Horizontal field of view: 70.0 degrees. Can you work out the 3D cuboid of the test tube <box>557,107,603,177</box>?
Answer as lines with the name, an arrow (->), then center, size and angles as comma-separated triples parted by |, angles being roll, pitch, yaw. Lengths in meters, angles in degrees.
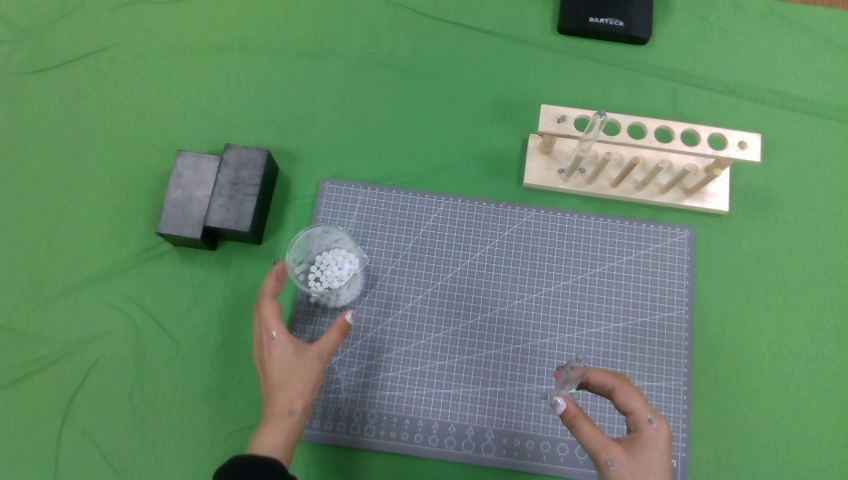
test tube -> 0.166, -0.102, 0.653 | 0.017, 0.151, 0.017 | 0, 74, 0

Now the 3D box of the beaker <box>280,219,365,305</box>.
beaker -> -0.102, 0.028, 0.649 | 0.084, 0.100, 0.073 | 0, 75, -1

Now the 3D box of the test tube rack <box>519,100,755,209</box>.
test tube rack -> 0.239, -0.097, 0.700 | 0.242, 0.085, 0.066 | 8, 74, 1

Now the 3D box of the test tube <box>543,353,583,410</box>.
test tube -> 0.116, 0.124, 0.515 | 0.017, 0.151, 0.017 | -2, 64, 4
